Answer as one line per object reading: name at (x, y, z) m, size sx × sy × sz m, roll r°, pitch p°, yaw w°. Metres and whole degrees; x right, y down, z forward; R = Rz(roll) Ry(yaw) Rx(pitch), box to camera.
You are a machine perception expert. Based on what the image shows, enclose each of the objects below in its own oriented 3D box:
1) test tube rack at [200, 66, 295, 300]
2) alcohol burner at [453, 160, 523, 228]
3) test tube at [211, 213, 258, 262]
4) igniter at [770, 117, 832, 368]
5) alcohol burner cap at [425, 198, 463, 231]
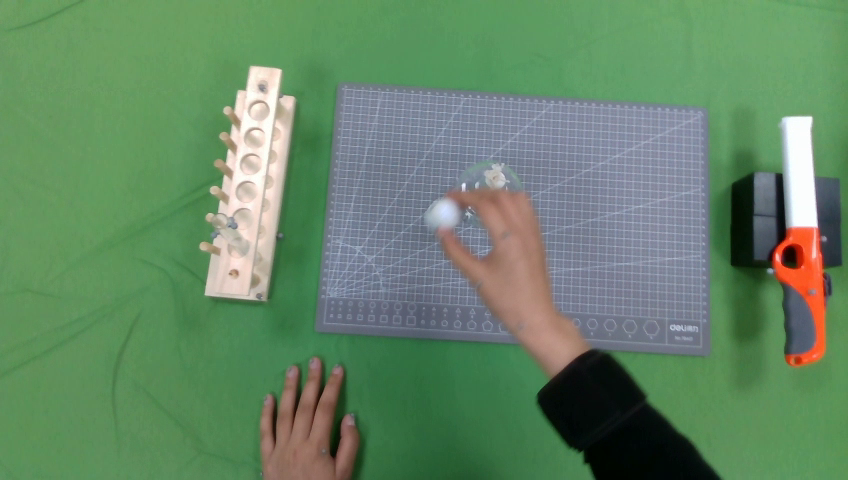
test tube rack at (-0.198, -0.060, 0.664) m, size 0.067 × 0.085 × 0.241 m, roll 6°, pitch 81°, yaw -1°
alcohol burner at (0.071, -0.054, 0.656) m, size 0.078 × 0.119 × 0.077 m, roll 0°, pitch 82°, yaw -1°
test tube at (-0.186, 0.001, 0.605) m, size 0.017 × 0.151 × 0.017 m, roll 1°, pitch 76°, yaw -4°
igniter at (0.407, -0.001, 0.659) m, size 0.057 × 0.025 × 0.275 m, roll 1°, pitch 80°, yaw 10°
alcohol burner cap at (0.020, -0.026, 0.565) m, size 0.034 × 0.048 × 0.034 m, roll 0°, pitch 88°, yaw -9°
